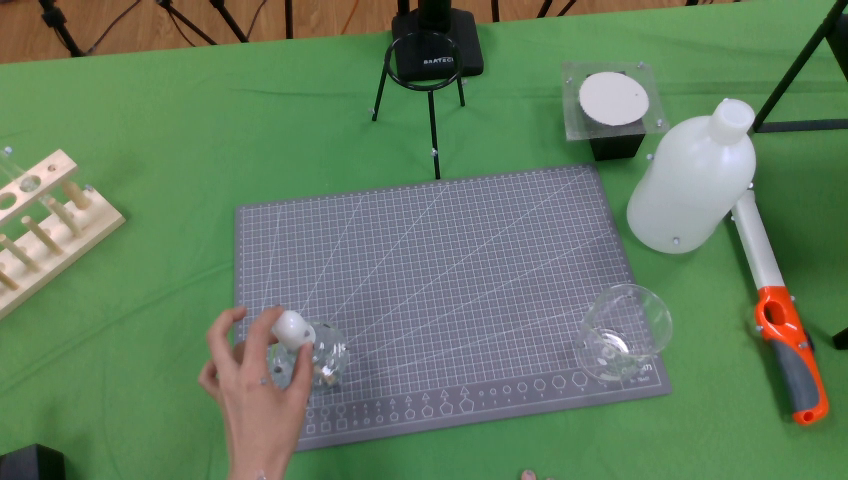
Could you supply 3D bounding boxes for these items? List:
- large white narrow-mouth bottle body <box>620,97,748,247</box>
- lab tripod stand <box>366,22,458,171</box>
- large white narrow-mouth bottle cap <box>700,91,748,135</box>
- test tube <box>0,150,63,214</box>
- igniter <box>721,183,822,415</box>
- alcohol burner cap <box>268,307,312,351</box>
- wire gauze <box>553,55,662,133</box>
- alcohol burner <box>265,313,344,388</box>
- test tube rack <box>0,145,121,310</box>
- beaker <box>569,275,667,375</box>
[{"bbox_3d":[0.282,-0.078,0.647,0.102,0.196,0.101,0,61,0],"label":"large white narrow-mouth bottle body"},{"bbox_3d":[-0.005,-0.178,0.733,0.148,0.132,0.147,1,63,-2],"label":"lab tripod stand"},{"bbox_3d":[0.282,-0.120,0.572,0.038,0.024,0.037,0,62,0],"label":"large white narrow-mouth bottle cap"},{"bbox_3d":[-0.435,-0.070,0.644,0.017,0.151,0.017,-2,62,4],"label":"test tube"},{"bbox_3d":[0.379,0.055,0.673,0.057,0.025,0.274,2,62,-11],"label":"igniter"},{"bbox_3d":[-0.123,0.079,0.545,0.034,0.048,0.033,-2,63,4],"label":"alcohol burner cap"},{"bbox_3d":[0.224,-0.185,0.753,0.121,0.011,0.124,-1,62,0],"label":"wire gauze"},{"bbox_3d":[-0.119,0.102,0.593,0.078,0.120,0.077,1,60,-1],"label":"alcohol burner"},{"bbox_3d":[-0.466,0.012,0.656,0.066,0.086,0.242,38,68,18],"label":"test tube rack"},{"bbox_3d":[0.187,0.090,0.609,0.084,0.101,0.073,-2,62,0],"label":"beaker"}]
